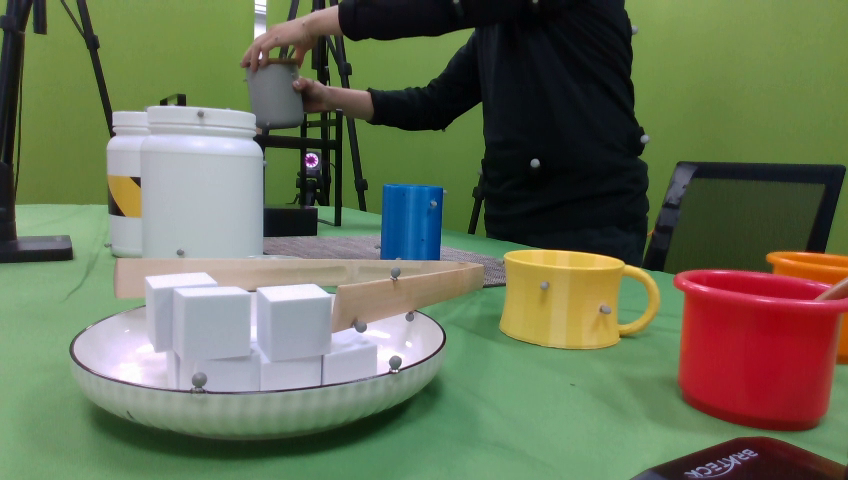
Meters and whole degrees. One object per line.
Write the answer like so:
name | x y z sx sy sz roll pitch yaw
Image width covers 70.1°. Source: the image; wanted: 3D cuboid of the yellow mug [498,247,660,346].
yellow mug | 0.130 0.045 0.508 0.131 0.064 0.100 4 7 6

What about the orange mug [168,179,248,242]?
orange mug | -0.351 -0.050 0.986 0.126 0.101 0.083 -3 8 -9

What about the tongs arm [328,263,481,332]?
tongs arm | -0.003 0.036 0.492 0.050 0.026 0.386 1 -1 19

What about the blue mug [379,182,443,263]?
blue mug | -0.019 -0.026 0.833 0.082 0.106 0.116 1 7 -7

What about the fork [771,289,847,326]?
fork | 0.335 0.018 0.443 0.028 0.018 0.207 -2 -36 -20

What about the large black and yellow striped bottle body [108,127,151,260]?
large black and yellow striped bottle body | -0.350 -0.071 0.812 0.131 0.184 0.130 2 7 0

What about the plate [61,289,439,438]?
plate | -0.095 0.069 0.362 0.208 0.039 0.207 2 7 0

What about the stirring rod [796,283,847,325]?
stirring rod | 0.347 0.019 0.460 0.014 0.176 0.006 -17 59 -26

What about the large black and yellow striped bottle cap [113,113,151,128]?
large black and yellow striped bottle cap | -0.348 -0.154 0.800 0.115 0.019 0.115 2 6 0

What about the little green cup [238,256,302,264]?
little green cup | -0.150 0.038 0.590 0.061 0.038 0.061 3 6 0

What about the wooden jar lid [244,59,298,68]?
wooden jar lid | -0.312 -0.355 1.238 0.108 0.020 0.108 -5 13 1

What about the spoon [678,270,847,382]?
spoon | 0.229 0.031 0.338 0.193 0.021 0.042 -44 -16 27

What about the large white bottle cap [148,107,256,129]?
large white bottle cap | -0.250 -0.137 0.686 0.115 0.018 0.115 3 8 0

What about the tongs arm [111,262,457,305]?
tongs arm | -0.080 0.033 0.526 0.028 0.027 0.389 -4 -4 33

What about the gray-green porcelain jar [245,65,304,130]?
gray-green porcelain jar | -0.307 -0.294 1.253 0.106 0.126 0.106 -4 14 1

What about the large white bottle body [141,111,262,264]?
large white bottle body | -0.254 -0.053 0.697 0.131 0.184 0.130 2 7 0
